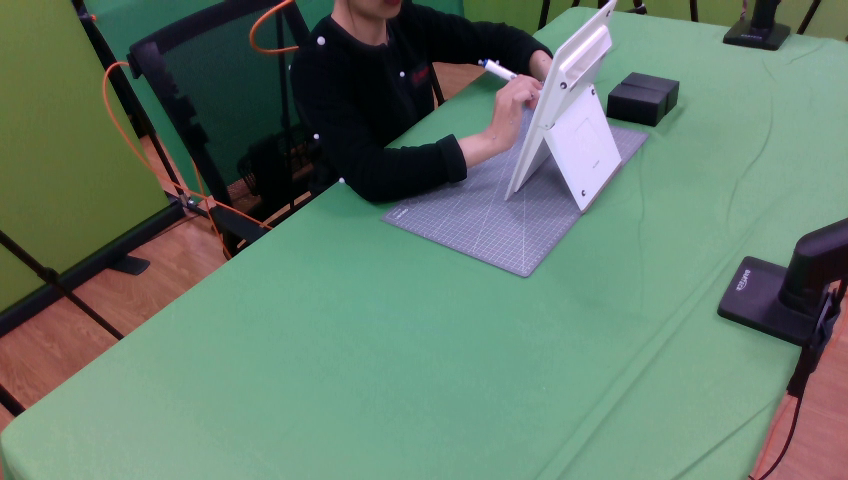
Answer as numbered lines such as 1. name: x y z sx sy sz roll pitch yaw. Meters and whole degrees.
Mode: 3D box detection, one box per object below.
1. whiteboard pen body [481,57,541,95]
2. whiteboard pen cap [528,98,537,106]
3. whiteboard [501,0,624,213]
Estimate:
1. whiteboard pen body: 0.164 -0.280 1.056 0.141 0.017 0.017 25 42 -11
2. whiteboard pen cap: 0.239 -0.293 1.288 0.033 0.018 0.018 22 50 35
3. whiteboard: 0.271 -0.189 0.977 0.143 0.306 0.218 34 53 16
